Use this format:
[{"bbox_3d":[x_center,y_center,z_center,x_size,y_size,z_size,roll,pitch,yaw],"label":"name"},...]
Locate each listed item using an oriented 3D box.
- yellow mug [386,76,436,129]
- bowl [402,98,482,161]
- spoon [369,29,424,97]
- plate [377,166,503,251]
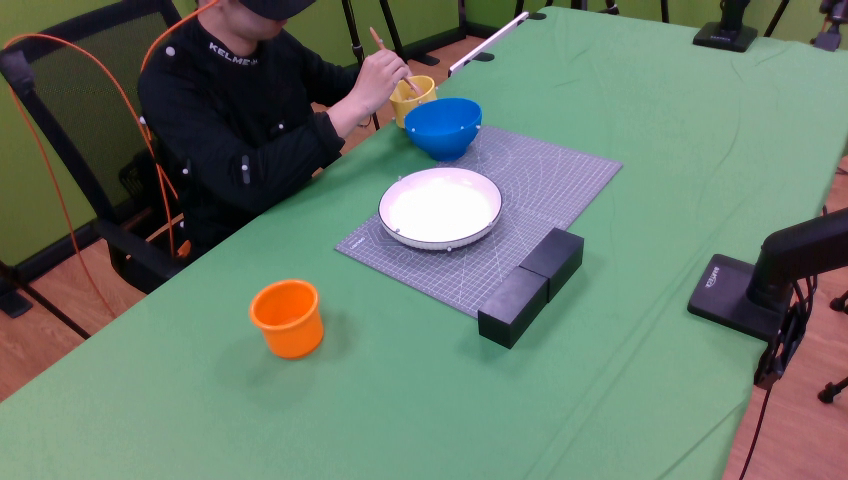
[{"bbox_3d":[-0.028,-0.291,1.252,0.100,0.064,0.129,-30,41,-11],"label":"yellow mug"},{"bbox_3d":[0.040,-0.203,1.154,0.151,0.077,0.150,-7,38,6],"label":"bowl"},{"bbox_3d":[-0.049,-0.331,1.189,0.021,0.195,0.041,-31,28,24],"label":"spoon"},{"bbox_3d":[0.027,-0.050,1.007,0.209,0.038,0.208,-4,41,4],"label":"plate"}]
